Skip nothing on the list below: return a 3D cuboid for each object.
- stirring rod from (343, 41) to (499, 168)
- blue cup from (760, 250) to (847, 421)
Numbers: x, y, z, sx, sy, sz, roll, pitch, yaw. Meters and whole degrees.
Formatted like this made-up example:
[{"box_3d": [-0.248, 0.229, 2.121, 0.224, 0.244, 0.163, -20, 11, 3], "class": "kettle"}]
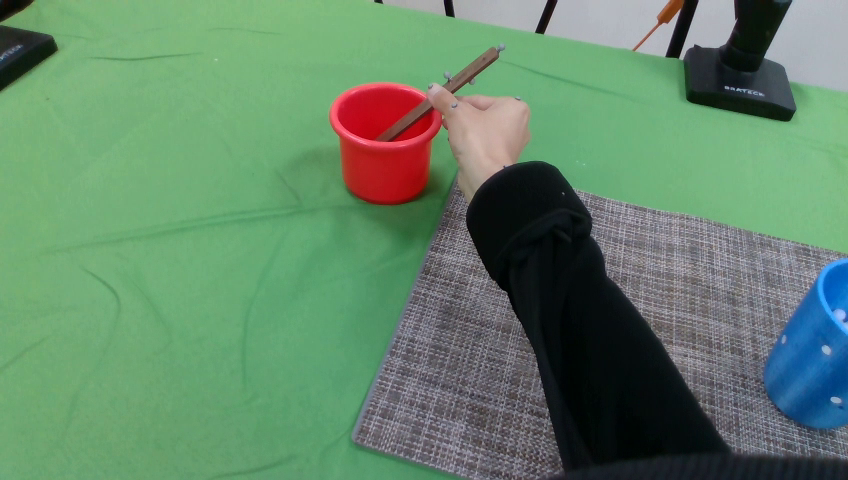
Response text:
[{"box_3d": [-0.006, -0.118, 0.539, 0.176, 0.006, 0.014, -34, 54, 20], "class": "stirring rod"}, {"box_3d": [0.278, 0.071, 0.404, 0.093, 0.101, 0.091, 4, 47, -3], "class": "blue cup"}]
